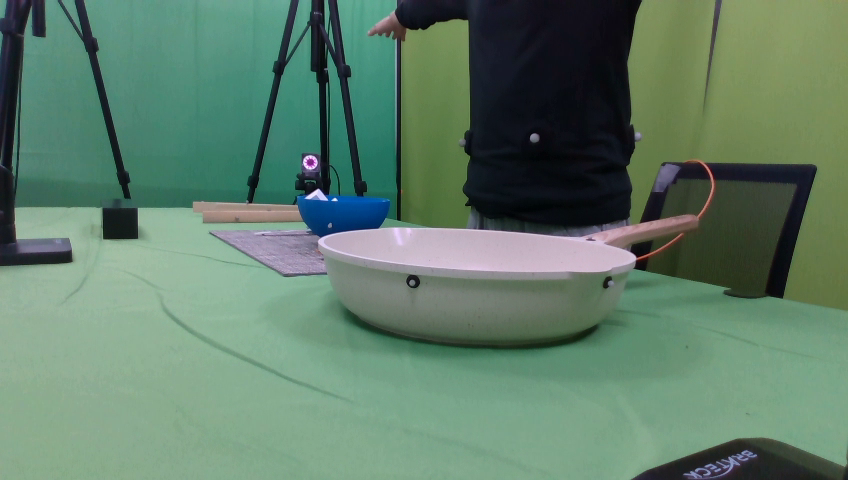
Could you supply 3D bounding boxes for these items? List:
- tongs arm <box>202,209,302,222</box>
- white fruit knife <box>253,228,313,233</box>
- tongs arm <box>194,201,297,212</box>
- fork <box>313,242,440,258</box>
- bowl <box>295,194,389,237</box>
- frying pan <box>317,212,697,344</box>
[{"bbox_3d":[-0.298,-0.057,1.353,0.390,0.028,0.028,-3,7,-36],"label":"tongs arm"},{"bbox_3d":[-0.205,-0.019,1.101,0.208,0.016,0.027,-3,-2,-28],"label":"white fruit knife"},{"bbox_3d":[-0.335,-0.072,1.424,0.387,0.026,0.050,0,8,-23],"label":"tongs arm"},{"bbox_3d":[-0.063,0.013,0.878,0.208,0.018,0.028,-5,2,-34],"label":"fork"},{"bbox_3d":[-0.132,-0.032,0.980,0.151,0.077,0.151,2,7,0],"label":"bowl"},{"bbox_3d":[0.133,0.013,0.629,0.490,0.102,0.305,-12,14,-31],"label":"frying pan"}]
